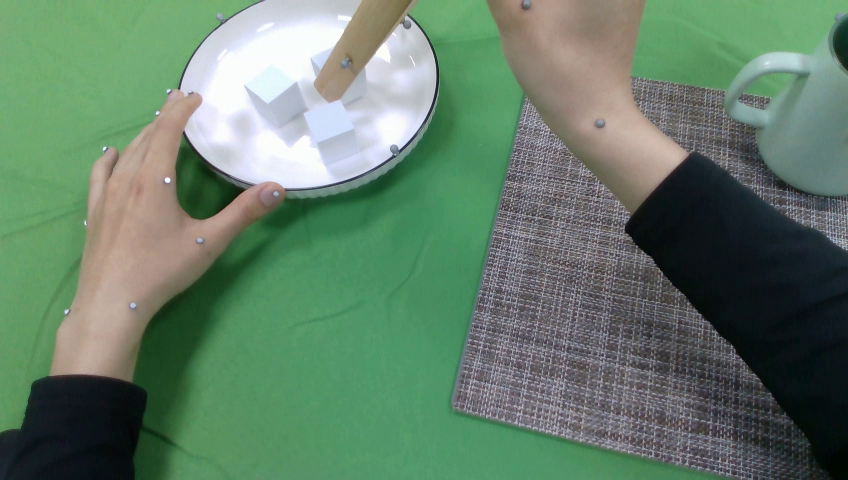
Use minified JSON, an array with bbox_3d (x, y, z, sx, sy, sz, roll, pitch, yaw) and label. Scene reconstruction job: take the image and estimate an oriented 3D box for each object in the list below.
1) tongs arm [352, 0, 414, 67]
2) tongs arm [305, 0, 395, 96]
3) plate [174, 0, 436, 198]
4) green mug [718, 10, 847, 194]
[{"bbox_3d":[0.017,-0.183,0.325,0.026,0.384,0.050,46,59,-10],"label":"tongs arm"},{"bbox_3d":[0.002,-0.164,0.313,0.028,0.387,0.028,49,62,-9],"label":"tongs arm"},{"bbox_3d":[-0.093,-0.118,0.493,0.209,0.038,0.207,-1,63,2],"label":"plate"},{"bbox_3d":[0.272,-0.095,0.419,0.125,0.106,0.092,10,64,8],"label":"green mug"}]
